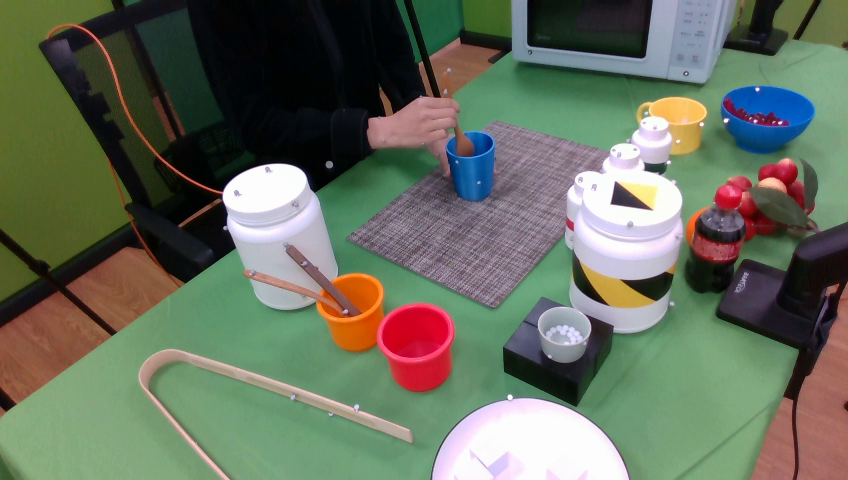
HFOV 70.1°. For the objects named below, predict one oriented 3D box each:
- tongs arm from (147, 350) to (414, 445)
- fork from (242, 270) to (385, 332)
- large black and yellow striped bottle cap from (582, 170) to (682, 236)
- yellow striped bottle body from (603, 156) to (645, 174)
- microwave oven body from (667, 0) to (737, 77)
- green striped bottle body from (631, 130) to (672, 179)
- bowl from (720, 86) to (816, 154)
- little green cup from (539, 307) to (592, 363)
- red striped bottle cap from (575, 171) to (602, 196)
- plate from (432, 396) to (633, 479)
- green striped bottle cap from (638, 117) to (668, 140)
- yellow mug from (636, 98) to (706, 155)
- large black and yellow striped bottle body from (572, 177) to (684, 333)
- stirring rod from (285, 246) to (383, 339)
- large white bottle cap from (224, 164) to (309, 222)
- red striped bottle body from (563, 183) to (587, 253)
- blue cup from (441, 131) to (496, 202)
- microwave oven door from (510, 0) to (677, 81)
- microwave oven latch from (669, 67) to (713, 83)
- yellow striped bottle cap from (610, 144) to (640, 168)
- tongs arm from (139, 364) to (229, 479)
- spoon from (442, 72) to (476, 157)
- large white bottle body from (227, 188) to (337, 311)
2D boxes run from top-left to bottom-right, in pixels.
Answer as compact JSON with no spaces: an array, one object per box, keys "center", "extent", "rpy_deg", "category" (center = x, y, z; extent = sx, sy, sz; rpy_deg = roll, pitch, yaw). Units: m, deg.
[{"center":[-0.193,0.200,0.757],"extent":[0.382,0.026,0.051],"rpy_deg":[14,49,24],"category":"tongs arm"},{"center":[-0.142,0.082,0.802],"extent":[0.209,0.018,0.028],"rpy_deg":[28,38,-26],"category":"fork"},{"center":[0.252,-0.048,0.735],"extent":[0.115,0.019,0.114],"rpy_deg":[-3,40,3],"category":"large black and yellow striped bottle cap"},{"center":[0.313,-0.089,0.956],"extent":[0.063,0.121,0.062],"rpy_deg":[-4,39,4],"category":"yellow striped bottle body"},{"center":[0.462,-0.552,1.368],"extent":[0.439,0.261,0.326],"rpy_deg":[14,45,26],"category":"microwave oven body"},{"center":[0.375,-0.140,1.007],"extent":[0.063,0.120,0.063],"rpy_deg":[-5,40,4],"category":"green striped bottle body"},{"center":[0.605,-0.206,1.081],"extent":[0.151,0.077,0.150],"rpy_deg":[-5,40,5],"category":"bowl"},{"center":[0.168,0.115,0.721],"extent":[0.061,0.039,0.061],"rpy_deg":[-4,42,4],"category":"little green cup"},{"center":[0.242,-0.081,0.876],"extent":[0.044,0.018,0.044],"rpy_deg":[-5,44,5],"category":"red striped bottle cap"},{"center":[0.112,0.261,0.634],"extent":[0.209,0.038,0.208],"rpy_deg":[-5,40,4],"category":"plate"},{"center":[0.369,-0.180,0.974],"extent":[0.044,0.020,0.044],"rpy_deg":[-4,41,4],"category":"green striped bottle cap"},{"center":[0.453,-0.217,1.128],"extent":[0.100,0.064,0.129],"rpy_deg":[-34,46,-27],"category":"yellow mug"},{"center":[0.262,0.017,0.788],"extent":[0.131,0.185,0.130],"rpy_deg":[-5,40,4],"category":"large black and yellow striped bottle body"},{"center":[-0.121,0.071,0.819],"extent":[0.176,0.006,0.014],"rpy_deg":[44,52,-6],"category":"stirring rod"},{"center":[-0.215,-0.066,0.829],"extent":[0.115,0.018,0.114],"rpy_deg":[-4,40,4],"category":"large white bottle cap"},{"center":[0.246,-0.041,0.910],"extent":[0.063,0.120,0.062],"rpy_deg":[-2,38,2],"category":"red striped bottle body"},{"center":[0.084,-0.122,1.041],"extent":[0.092,0.100,0.092],"rpy_deg":[-5,40,5],"category":"blue cup"},{"center":[0.354,-0.478,1.290],"extent":[0.353,0.245,0.039],"rpy_deg":[15,45,25],"category":"microwave oven door"},{"center":[0.556,-0.349,1.261],"extent":[0.078,0.029,0.030],"rpy_deg":[16,46,27],"category":"microwave oven latch"},{"center":[0.307,-0.128,0.923],"extent":[0.044,0.019,0.044],"rpy_deg":[-5,40,5],"category":"yellow striped bottle cap"},{"center":[-0.240,0.255,0.707],"extent":[0.384,0.028,0.028],"rpy_deg":[27,59,34],"category":"tongs arm"},{"center":[0.053,-0.192,0.985],"extent":[0.042,0.195,0.021],"rpy_deg":[-32,46,-9],"category":"spoon"},{"center":[-0.207,-0.002,0.883],"extent":[0.130,0.185,0.130],"rpy_deg":[-4,40,4],"category":"large white bottle body"}]
